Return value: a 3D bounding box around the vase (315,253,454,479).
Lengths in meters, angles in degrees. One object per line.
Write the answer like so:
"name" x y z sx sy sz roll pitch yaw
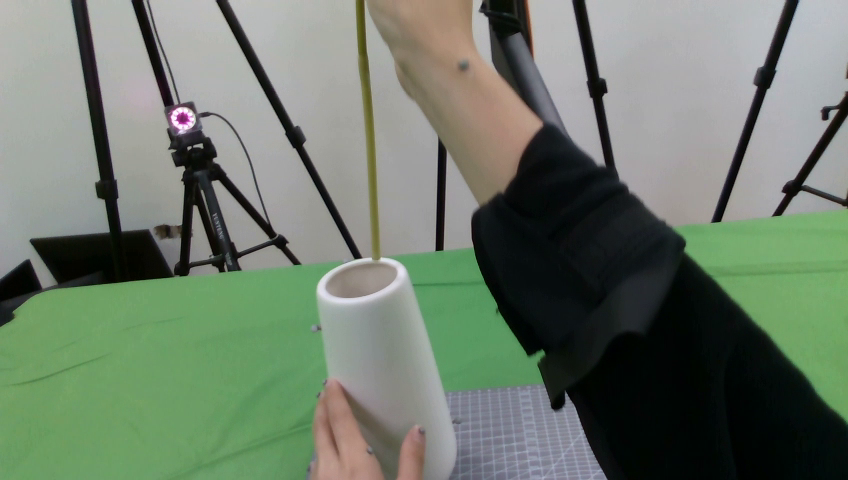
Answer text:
"vase" -0.032 0.112 0.492 0.098 0.201 0.097 -6 25 3

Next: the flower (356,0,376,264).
"flower" -0.036 -0.143 0.355 0.038 0.364 0.043 2 28 2
